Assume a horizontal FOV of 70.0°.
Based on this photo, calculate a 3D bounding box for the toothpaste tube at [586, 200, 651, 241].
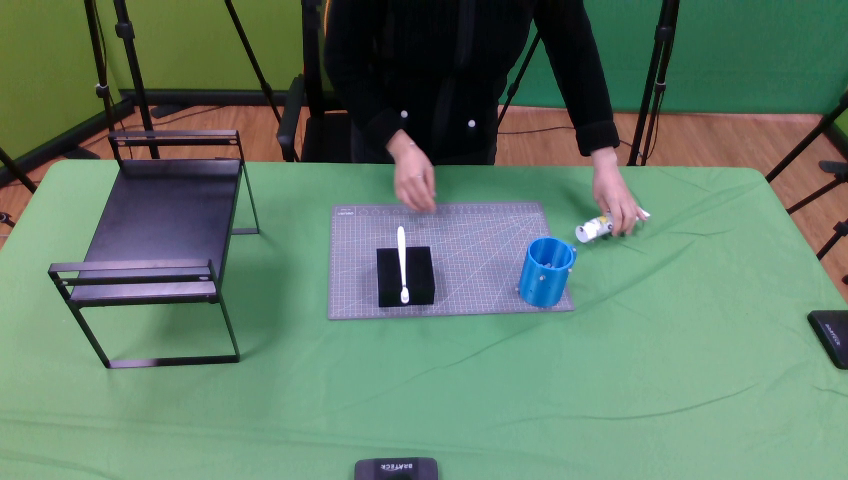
[{"bbox_3d":[0.388,-0.040,1.234,0.165,0.035,0.054,-24,56,-24],"label":"toothpaste tube"}]

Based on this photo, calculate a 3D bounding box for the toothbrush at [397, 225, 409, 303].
[{"bbox_3d":[-0.038,0.038,1.090,0.014,0.017,0.180,-5,46,-1],"label":"toothbrush"}]

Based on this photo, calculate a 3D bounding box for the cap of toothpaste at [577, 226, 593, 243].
[{"bbox_3d":[0.320,-0.013,1.204,0.011,0.037,0.037,-24,53,-24],"label":"cap of toothpaste"}]

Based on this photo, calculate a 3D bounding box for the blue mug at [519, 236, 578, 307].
[{"bbox_3d":[0.234,0.052,1.102,0.116,0.106,0.082,-23,52,-24],"label":"blue mug"}]
